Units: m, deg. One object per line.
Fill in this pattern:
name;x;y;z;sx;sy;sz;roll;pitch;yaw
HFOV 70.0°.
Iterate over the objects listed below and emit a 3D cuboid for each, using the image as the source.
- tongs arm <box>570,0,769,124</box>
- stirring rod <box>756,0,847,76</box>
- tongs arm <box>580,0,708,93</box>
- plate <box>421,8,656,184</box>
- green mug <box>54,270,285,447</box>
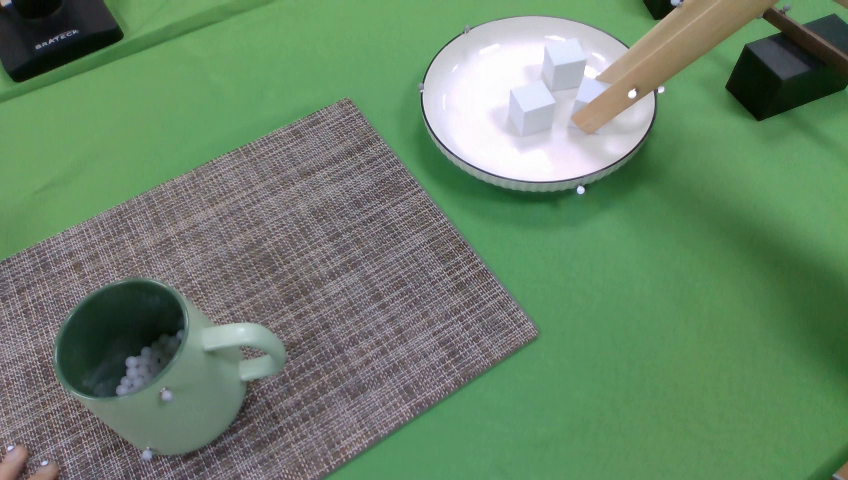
tongs arm;0.219;-0.171;0.376;0.028;0.387;0.028;39;60;-9
stirring rod;0.336;-0.173;0.523;0.006;0.014;0.174;-25;61;-17
tongs arm;0.229;-0.189;0.386;0.026;0.385;0.050;35;56;-10
plate;0.101;-0.131;0.554;0.207;0.039;0.205;-1;59;2
green mug;-0.156;0.076;0.396;0.125;0.106;0.091;-9;58;-3
